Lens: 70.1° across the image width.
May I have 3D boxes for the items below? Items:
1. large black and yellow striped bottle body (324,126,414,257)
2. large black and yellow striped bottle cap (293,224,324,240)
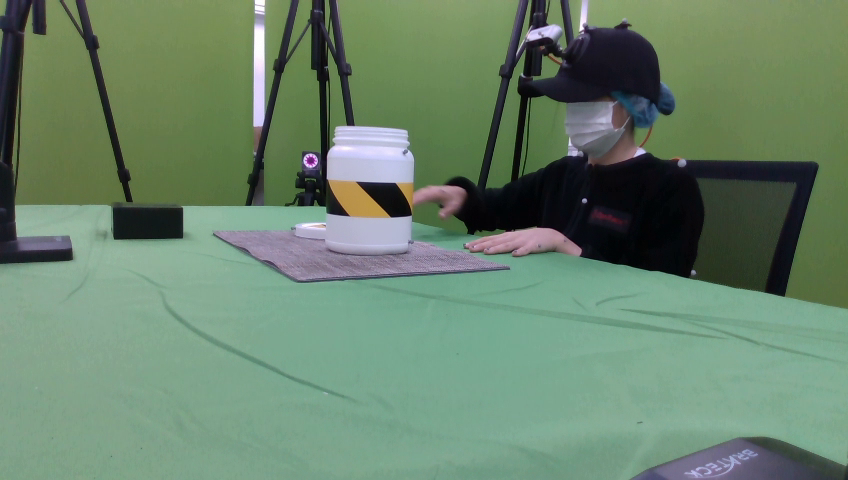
[{"bbox_3d":[-0.082,-0.074,0.904,0.131,0.184,0.130,3,7,0],"label":"large black and yellow striped bottle body"},{"bbox_3d":[-0.173,-0.015,1.071,0.115,0.019,0.115,2,7,0],"label":"large black and yellow striped bottle cap"}]
